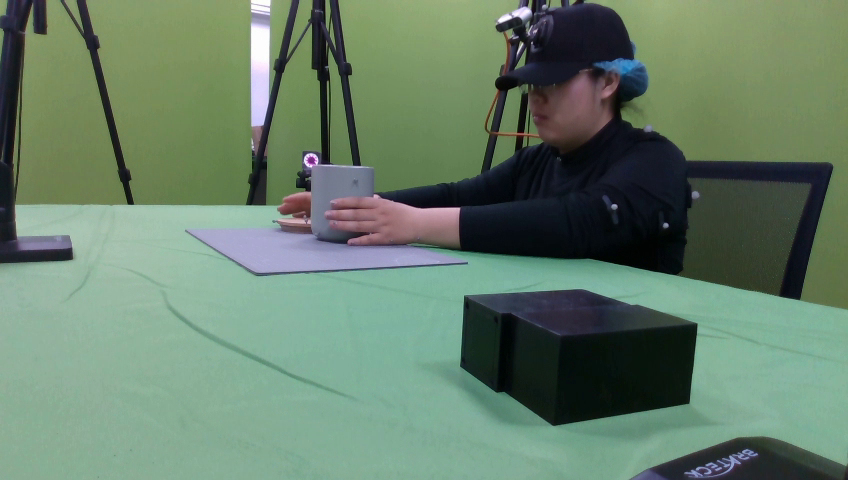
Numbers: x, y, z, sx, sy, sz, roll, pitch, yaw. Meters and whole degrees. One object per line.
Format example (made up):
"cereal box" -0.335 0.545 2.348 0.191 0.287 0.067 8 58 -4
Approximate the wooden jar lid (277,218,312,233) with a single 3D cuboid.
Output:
"wooden jar lid" -0.221 -0.028 1.138 0.108 0.020 0.108 2 8 0

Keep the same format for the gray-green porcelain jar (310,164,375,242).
"gray-green porcelain jar" -0.139 -0.064 1.025 0.106 0.126 0.106 3 8 0
